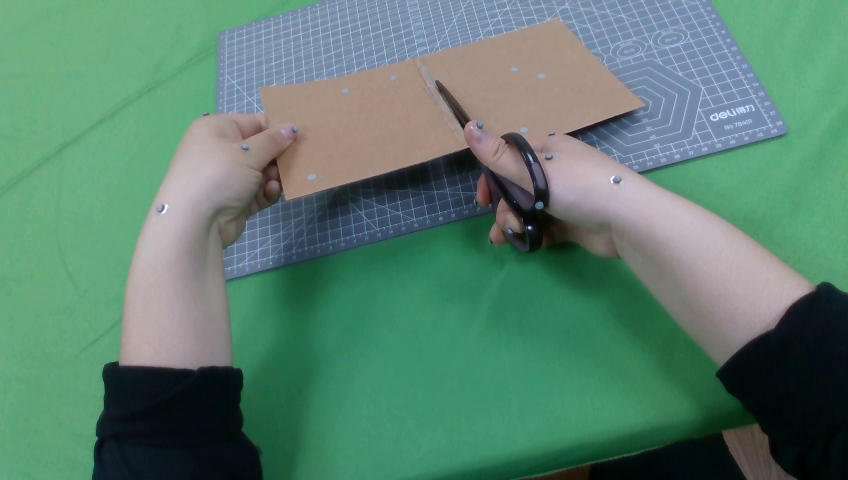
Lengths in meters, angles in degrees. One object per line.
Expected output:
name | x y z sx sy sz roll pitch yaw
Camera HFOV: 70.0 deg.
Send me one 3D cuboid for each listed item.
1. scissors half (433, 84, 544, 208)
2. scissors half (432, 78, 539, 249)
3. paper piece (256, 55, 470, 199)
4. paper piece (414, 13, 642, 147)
scissors half | 0.037 -0.076 0.422 0.013 0.040 0.173 -15 37 -15
scissors half | 0.038 -0.062 0.437 0.013 0.040 0.173 -19 60 -11
paper piece | -0.053 -0.093 0.457 0.138 0.009 0.134 -17 44 -7
paper piece | 0.078 -0.132 0.485 0.135 0.004 0.134 -20 54 -11
